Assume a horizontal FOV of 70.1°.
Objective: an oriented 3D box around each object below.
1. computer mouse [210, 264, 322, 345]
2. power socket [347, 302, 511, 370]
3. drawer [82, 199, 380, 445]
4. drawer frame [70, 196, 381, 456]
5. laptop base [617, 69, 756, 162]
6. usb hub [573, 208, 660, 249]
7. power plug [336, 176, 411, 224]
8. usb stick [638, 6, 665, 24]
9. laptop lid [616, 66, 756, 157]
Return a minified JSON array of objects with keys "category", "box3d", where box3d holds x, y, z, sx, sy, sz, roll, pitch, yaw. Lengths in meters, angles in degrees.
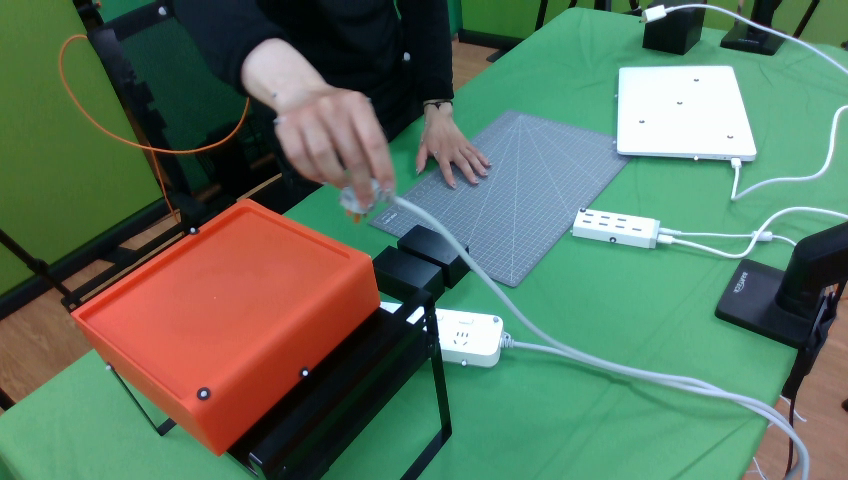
[{"category":"computer mouse","box3d":[-0.164,0.062,0.624,0.116,0.041,0.063,22,44,27]},{"category":"power socket","box3d":[0.001,0.126,0.816,0.226,0.033,0.072,6,43,14]},{"category":"drawer","box3d":[-0.185,0.066,0.600,0.193,0.073,0.212,24,50,31]},{"category":"drawer frame","box3d":[-0.186,0.068,0.597,0.200,0.083,0.214,23,49,30]},{"category":"laptop base","box3d":[0.507,-0.255,1.204,0.235,0.023,0.353,3,41,15]},{"category":"usb hub","box3d":[0.302,-0.019,0.949,0.124,0.025,0.049,11,43,20]},{"category":"power plug","box3d":[-0.053,-0.030,0.572,0.072,0.053,0.035,40,44,25]},{"category":"usb stick","box3d":[0.503,-0.499,1.347,0.059,0.027,0.021,-21,6,-1]},{"category":"laptop lid","box3d":[0.503,-0.265,1.196,0.241,0.013,0.356,5,41,16]}]
